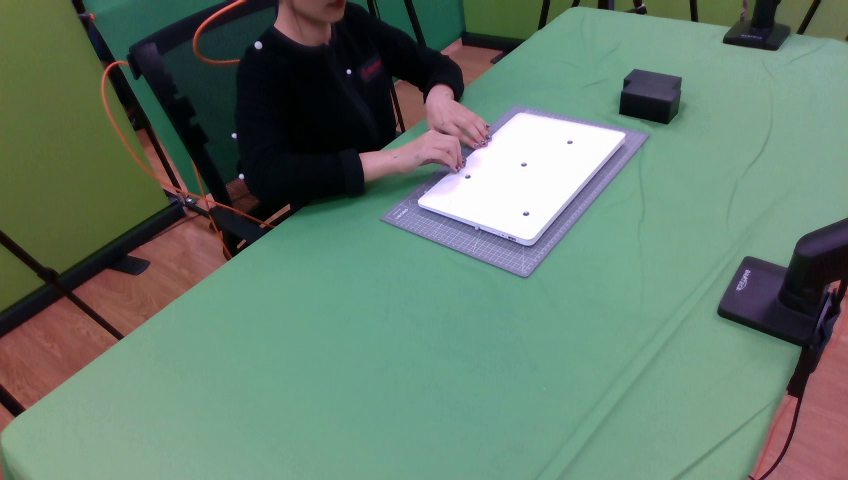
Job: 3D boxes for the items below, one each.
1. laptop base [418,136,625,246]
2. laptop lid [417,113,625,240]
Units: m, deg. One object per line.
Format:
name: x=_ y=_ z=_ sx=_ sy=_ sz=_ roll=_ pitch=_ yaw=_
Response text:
laptop base: x=0.183 y=-0.123 z=1.094 sx=0.233 sy=0.023 sz=0.355 roll=19 pitch=48 yaw=34
laptop lid: x=0.180 y=-0.132 z=1.088 sx=0.239 sy=0.013 sz=0.358 roll=22 pitch=49 yaw=35
